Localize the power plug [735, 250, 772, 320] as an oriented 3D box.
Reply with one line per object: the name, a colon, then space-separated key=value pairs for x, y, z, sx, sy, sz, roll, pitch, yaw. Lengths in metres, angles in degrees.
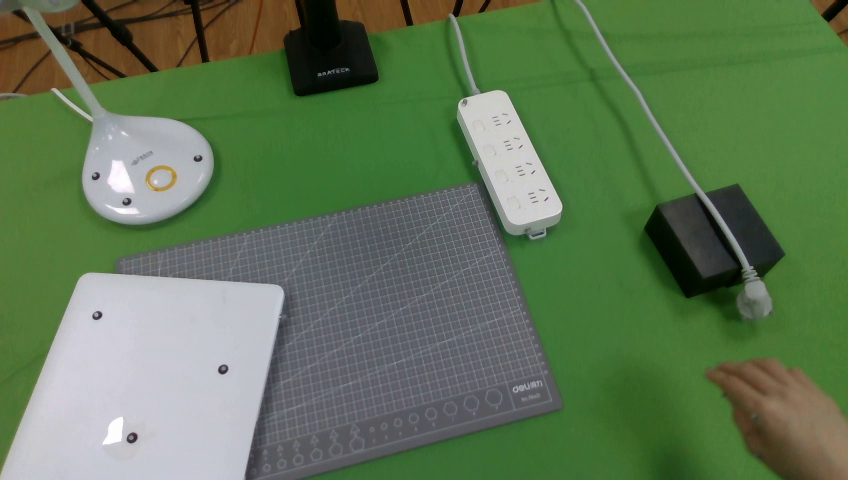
power plug: x=0.359 y=0.051 z=0.661 sx=0.035 sy=0.053 sz=0.072 roll=-1 pitch=76 yaw=15

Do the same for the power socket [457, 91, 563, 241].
power socket: x=0.105 y=-0.101 z=0.768 sx=0.072 sy=0.033 sz=0.224 roll=-14 pitch=61 yaw=-9

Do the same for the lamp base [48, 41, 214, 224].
lamp base: x=-0.360 y=-0.134 z=0.706 sx=0.178 sy=0.182 sz=0.160 roll=31 pitch=65 yaw=20

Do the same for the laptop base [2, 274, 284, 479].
laptop base: x=-0.286 y=0.201 z=0.610 sx=0.235 sy=0.023 sz=0.351 roll=5 pitch=61 yaw=0

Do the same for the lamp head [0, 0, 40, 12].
lamp head: x=-0.312 y=-0.248 z=0.449 sx=0.112 sy=0.111 sz=0.124 roll=-42 pitch=111 yaw=-20

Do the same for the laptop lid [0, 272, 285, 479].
laptop lid: x=-0.284 y=0.195 z=0.600 sx=0.242 sy=0.013 sz=0.353 roll=6 pitch=61 yaw=2
